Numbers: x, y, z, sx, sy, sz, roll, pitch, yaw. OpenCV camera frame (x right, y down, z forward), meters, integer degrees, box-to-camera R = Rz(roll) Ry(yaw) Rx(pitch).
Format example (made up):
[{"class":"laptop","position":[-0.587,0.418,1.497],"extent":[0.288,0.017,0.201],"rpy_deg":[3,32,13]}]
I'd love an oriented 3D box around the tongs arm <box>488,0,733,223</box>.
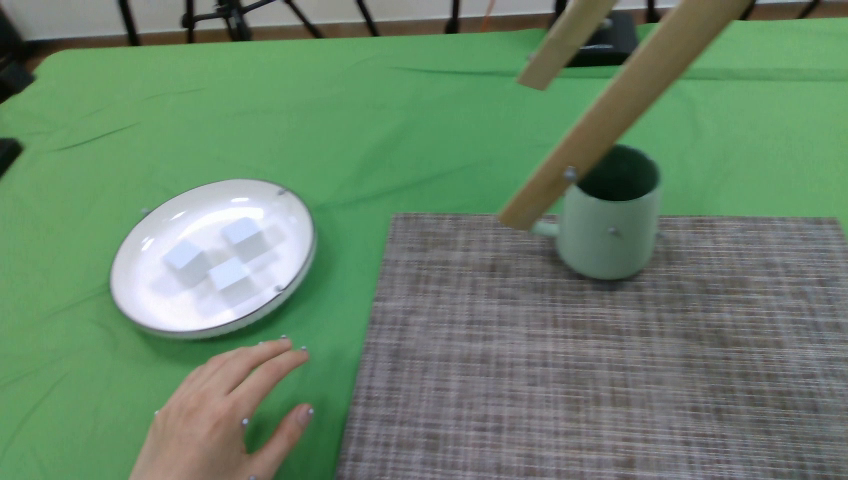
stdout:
[{"class":"tongs arm","position":[0.120,-0.116,0.241],"extent":[0.028,0.389,0.028],"rpy_deg":[22,53,-10]}]

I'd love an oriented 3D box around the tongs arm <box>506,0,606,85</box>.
[{"class":"tongs arm","position":[0.131,-0.173,0.273],"extent":[0.026,0.385,0.050],"rpy_deg":[19,62,-12]}]

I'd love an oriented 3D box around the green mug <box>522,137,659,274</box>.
[{"class":"green mug","position":[0.151,-0.030,0.564],"extent":[0.125,0.106,0.091],"rpy_deg":[0,50,8]}]

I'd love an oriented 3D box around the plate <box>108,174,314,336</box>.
[{"class":"plate","position":[-0.214,0.015,0.628],"extent":[0.209,0.038,0.207],"rpy_deg":[-4,49,4]}]
